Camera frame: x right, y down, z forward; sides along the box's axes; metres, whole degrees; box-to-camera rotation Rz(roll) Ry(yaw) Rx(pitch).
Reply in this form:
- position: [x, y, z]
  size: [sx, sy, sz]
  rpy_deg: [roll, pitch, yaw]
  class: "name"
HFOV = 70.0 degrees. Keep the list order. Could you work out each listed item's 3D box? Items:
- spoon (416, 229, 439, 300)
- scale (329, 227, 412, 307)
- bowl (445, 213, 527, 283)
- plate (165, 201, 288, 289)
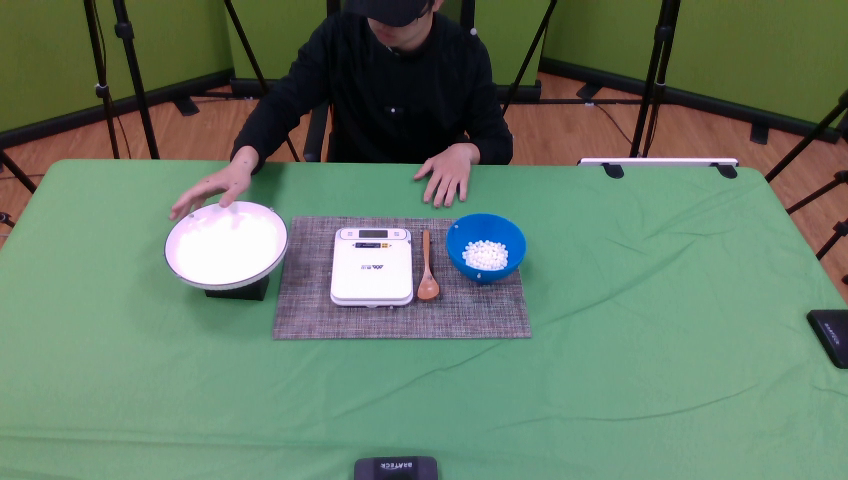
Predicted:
- position: [0.005, 0.043, 1.152]
  size: [0.041, 0.022, 0.192]
  rpy_deg: [-9, 46, 8]
  class: "spoon"
- position: [-0.099, 0.042, 1.139]
  size: [0.149, 0.032, 0.199]
  rpy_deg: [1, 46, -4]
  class: "scale"
- position: [0.112, 0.027, 1.136]
  size: [0.151, 0.077, 0.150]
  rpy_deg: [2, 46, -2]
  class: "bowl"
- position: [-0.347, 0.011, 1.082]
  size: [0.209, 0.038, 0.208]
  rpy_deg: [2, 46, -2]
  class: "plate"
